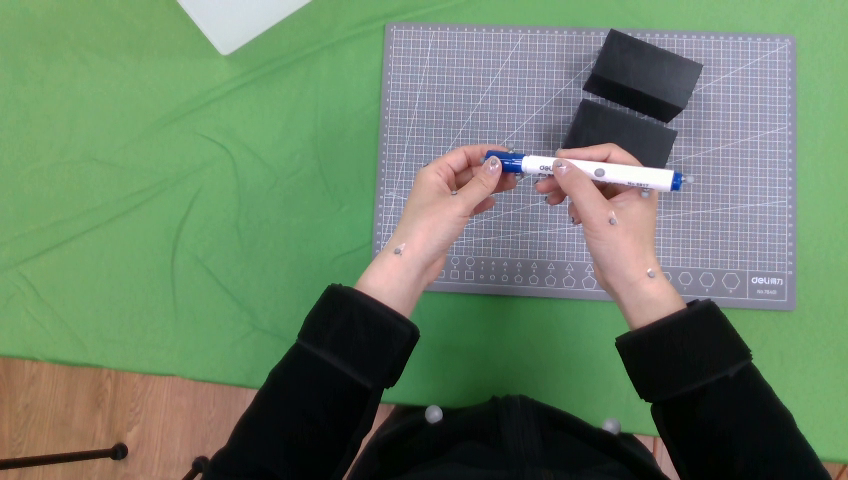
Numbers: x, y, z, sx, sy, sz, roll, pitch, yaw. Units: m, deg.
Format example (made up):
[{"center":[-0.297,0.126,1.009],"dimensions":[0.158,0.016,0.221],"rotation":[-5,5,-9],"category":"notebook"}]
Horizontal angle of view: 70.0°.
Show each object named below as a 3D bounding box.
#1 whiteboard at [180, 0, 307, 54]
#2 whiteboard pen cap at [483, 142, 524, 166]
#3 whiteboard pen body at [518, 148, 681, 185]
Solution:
[{"center":[-0.207,-0.379,0.580],"dimensions":[0.217,0.308,0.142],"rotation":[-33,64,0],"category":"whiteboard"},{"center":[0.066,-0.069,0.491],"dimensions":[0.033,0.018,0.018],"rotation":[8,85,19],"category":"whiteboard pen cap"},{"center":[0.121,-0.059,0.464],"dimensions":[0.140,0.017,0.017],"rotation":[11,85,24],"category":"whiteboard pen body"}]
